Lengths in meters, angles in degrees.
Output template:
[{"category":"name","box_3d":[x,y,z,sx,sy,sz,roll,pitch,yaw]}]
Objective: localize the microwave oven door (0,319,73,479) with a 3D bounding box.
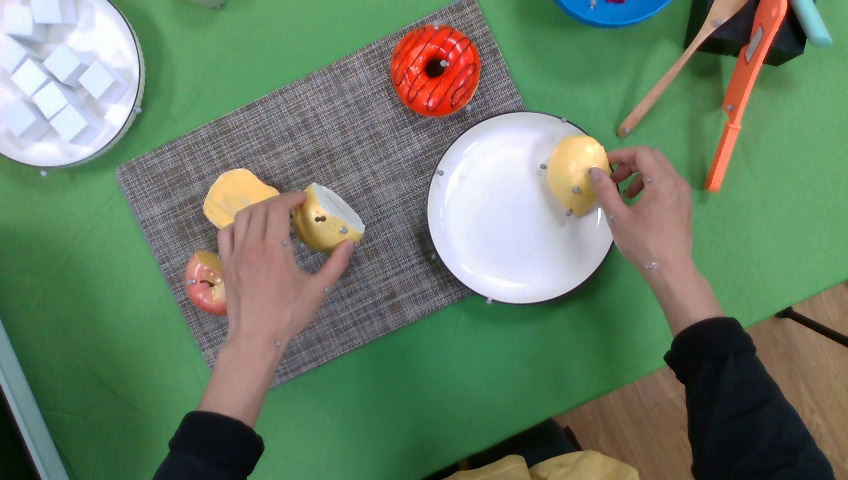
[{"category":"microwave oven door","box_3d":[-0.449,0.209,0.571,0.039,0.244,0.356,-23,91,2]}]

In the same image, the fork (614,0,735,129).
[{"category":"fork","box_3d":[0.267,-0.200,0.627,0.028,0.018,0.208,33,113,-7]}]

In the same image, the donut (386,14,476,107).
[{"category":"donut","box_3d":[0.008,-0.192,0.653,0.099,0.048,0.099,0,94,4]}]

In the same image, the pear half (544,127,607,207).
[{"category":"pear half","box_3d":[0.153,-0.073,0.635,0.070,0.031,0.088,19,120,40]}]

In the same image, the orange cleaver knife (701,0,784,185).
[{"category":"orange cleaver knife","box_3d":[0.325,-0.163,0.629,0.012,0.077,0.212,11,118,6]}]

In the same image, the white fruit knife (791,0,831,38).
[{"category":"white fruit knife","box_3d":[0.356,-0.296,0.607,0.027,0.016,0.207,-24,89,-26]}]

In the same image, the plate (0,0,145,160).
[{"category":"plate","box_3d":[-0.409,-0.192,0.672,0.207,0.039,0.207,0,92,2]}]

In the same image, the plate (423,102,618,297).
[{"category":"plate","box_3d":[0.103,-0.043,0.659,0.209,0.038,0.209,0,92,1]}]

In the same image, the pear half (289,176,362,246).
[{"category":"pear half","box_3d":[-0.105,-0.022,0.601,0.076,0.110,0.056,39,95,1]}]

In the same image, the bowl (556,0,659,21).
[{"category":"bowl","box_3d":[0.186,-0.295,0.630,0.151,0.077,0.151,0,93,2]}]

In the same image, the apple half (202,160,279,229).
[{"category":"apple half","box_3d":[-0.202,-0.044,0.667,0.081,0.033,0.080,3,69,-7]}]

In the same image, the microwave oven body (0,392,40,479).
[{"category":"microwave oven body","box_3d":[-0.600,0.225,0.581,0.326,0.260,0.442,-23,92,2]}]

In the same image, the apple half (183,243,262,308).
[{"category":"apple half","box_3d":[-0.221,0.044,0.655,0.081,0.074,0.053,29,97,-3]}]
